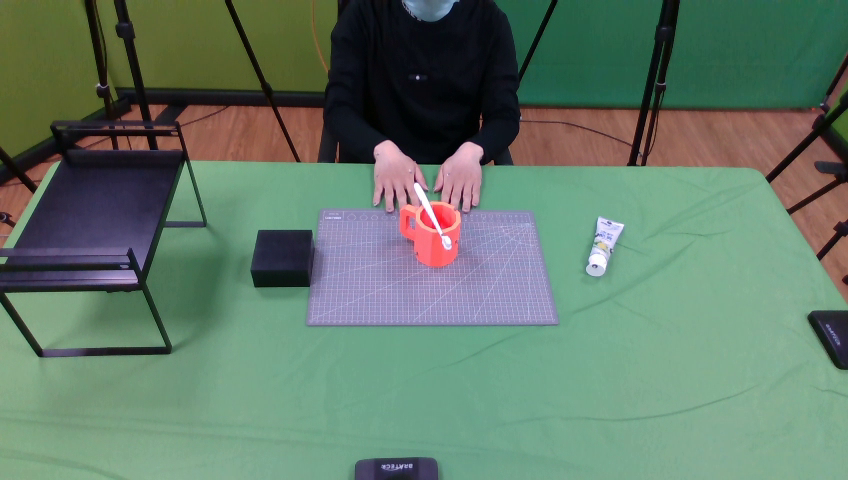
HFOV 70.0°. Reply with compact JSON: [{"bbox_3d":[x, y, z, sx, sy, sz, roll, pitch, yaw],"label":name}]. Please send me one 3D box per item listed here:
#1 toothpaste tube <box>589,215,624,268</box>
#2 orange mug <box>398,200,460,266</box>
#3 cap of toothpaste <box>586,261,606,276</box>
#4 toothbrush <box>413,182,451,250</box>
[{"bbox_3d":[0.363,0.005,1.216,0.055,0.034,0.164,24,46,9],"label":"toothpaste tube"},{"bbox_3d":[0.007,-0.020,1.161,0.126,0.101,0.083,27,50,15],"label":"orange mug"},{"bbox_3d":[0.330,0.053,1.160,0.037,0.037,0.011,12,48,7],"label":"cap of toothpaste"},{"bbox_3d":[0.013,-0.050,1.118,0.014,0.017,0.180,-15,49,-14],"label":"toothbrush"}]
